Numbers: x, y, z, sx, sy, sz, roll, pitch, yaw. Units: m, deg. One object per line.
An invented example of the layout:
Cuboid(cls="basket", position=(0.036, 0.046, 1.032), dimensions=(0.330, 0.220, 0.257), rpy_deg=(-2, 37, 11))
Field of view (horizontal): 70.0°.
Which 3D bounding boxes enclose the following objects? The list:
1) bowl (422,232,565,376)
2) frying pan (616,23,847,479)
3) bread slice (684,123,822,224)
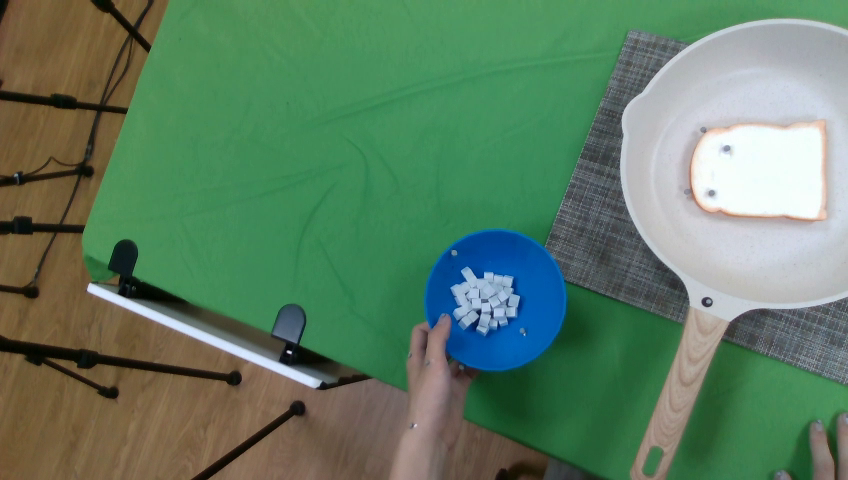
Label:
Cuboid(cls="bowl", position=(0.080, 0.073, 0.661), dimensions=(0.151, 0.077, 0.150), rpy_deg=(-3, 76, 14))
Cuboid(cls="frying pan", position=(0.305, 0.021, 0.612), dimensions=(0.305, 0.103, 0.486), rpy_deg=(23, 81, 17))
Cuboid(cls="bread slice", position=(0.352, -0.068, 0.651), dimensions=(0.134, 0.018, 0.106), rpy_deg=(-1, 83, 12))
